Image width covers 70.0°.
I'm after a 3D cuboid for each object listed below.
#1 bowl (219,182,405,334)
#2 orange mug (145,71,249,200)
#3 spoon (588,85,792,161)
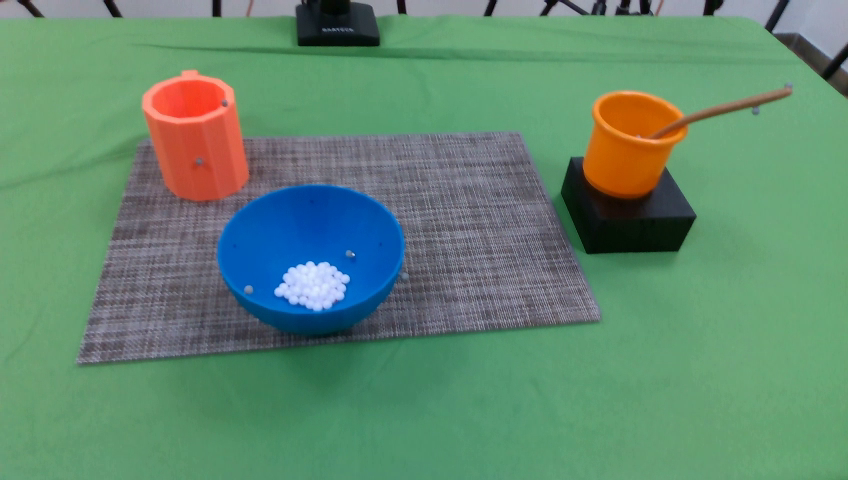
[{"bbox_3d":[-0.093,0.027,0.521,0.151,0.077,0.150,4,45,-3],"label":"bowl"},{"bbox_3d":[-0.236,-0.118,0.636,0.084,0.101,0.125,-9,51,-14],"label":"orange mug"},{"bbox_3d":[0.244,-0.110,0.579,0.041,0.193,0.022,-43,105,-41],"label":"spoon"}]
